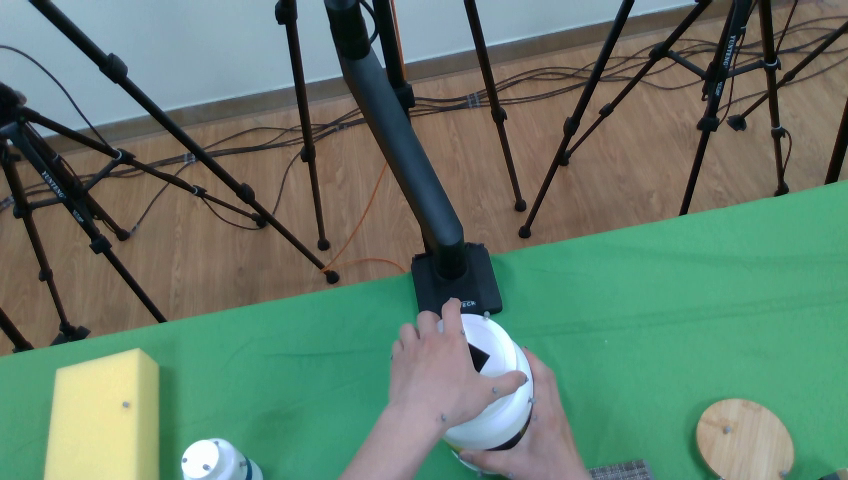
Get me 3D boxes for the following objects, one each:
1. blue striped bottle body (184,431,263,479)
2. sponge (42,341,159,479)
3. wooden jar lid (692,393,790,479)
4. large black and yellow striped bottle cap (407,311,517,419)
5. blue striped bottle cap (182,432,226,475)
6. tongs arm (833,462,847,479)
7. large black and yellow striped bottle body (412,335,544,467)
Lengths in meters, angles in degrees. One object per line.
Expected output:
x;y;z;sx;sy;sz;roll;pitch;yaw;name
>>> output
-0.242;0.269;0.723;0.063;0.122;0.062;-3;56;5;blue striped bottle body
-0.420;0.249;0.796;0.118;0.061;0.204;-15;56;-4;sponge
0.378;0.238;0.729;0.108;0.021;0.107;-3;57;5;wooden jar lid
0.038;0.127;0.629;0.115;0.019;0.114;-9;54;12;large black and yellow striped bottle cap
-0.248;0.239;0.682;0.044;0.021;0.044;-3;57;5;blue striped bottle cap
0.508;0.395;0.561;0.051;0.027;0.381;-14;66;-5;tongs arm
0.063;0.175;0.701;0.130;0.186;0.129;-9;54;13;large black and yellow striped bottle body
